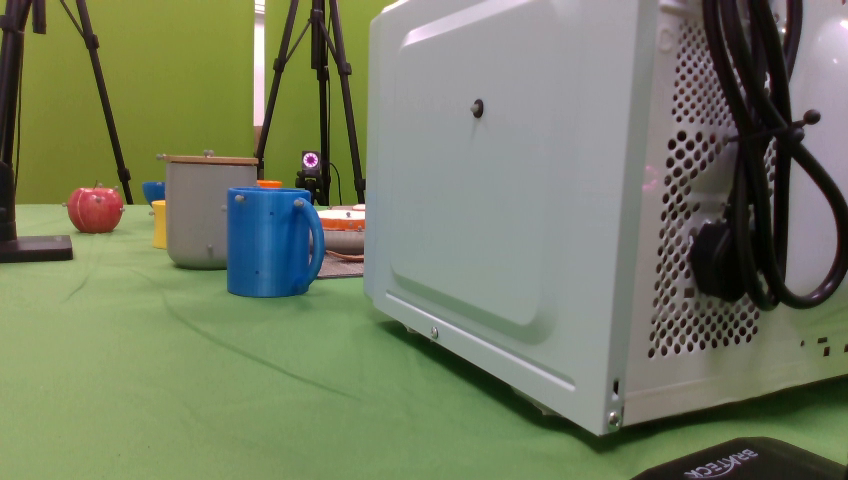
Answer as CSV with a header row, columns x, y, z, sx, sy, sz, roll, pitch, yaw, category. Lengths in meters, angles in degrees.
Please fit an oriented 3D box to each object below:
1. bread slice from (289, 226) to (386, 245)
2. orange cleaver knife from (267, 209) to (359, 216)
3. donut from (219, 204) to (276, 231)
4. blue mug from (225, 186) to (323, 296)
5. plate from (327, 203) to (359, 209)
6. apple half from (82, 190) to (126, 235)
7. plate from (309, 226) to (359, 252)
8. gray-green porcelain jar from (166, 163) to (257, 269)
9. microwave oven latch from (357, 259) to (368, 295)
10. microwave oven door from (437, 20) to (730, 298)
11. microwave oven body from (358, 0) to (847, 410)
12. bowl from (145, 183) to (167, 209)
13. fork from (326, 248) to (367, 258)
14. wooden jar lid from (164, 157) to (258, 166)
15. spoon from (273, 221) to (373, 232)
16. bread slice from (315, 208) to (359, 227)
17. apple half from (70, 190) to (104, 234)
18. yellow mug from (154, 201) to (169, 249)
x,y,z,sx,sy,sz,roll,pitch,yaw,category
-0.125,-0.008,0.938,0.131,0.019,0.105,5,7,31,bread slice
-0.259,-0.064,1.423,0.212,0.012,0.077,-4,3,-30,orange cleaver knife
-0.316,-0.039,1.083,0.099,0.048,0.099,3,7,0,donut
-0.148,0.000,0.618,0.116,0.106,0.083,7,9,33,blue mug
-0.102,-0.053,1.299,0.209,0.038,0.209,2,8,0,plate
-0.517,-0.046,0.994,0.032,0.081,0.081,0,6,26,apple half
-0.130,-0.011,0.945,0.208,0.039,0.207,2,7,0,plate
-0.263,-0.031,0.754,0.106,0.126,0.106,2,7,0,gray-green porcelain jar
-0.019,0.031,0.529,0.079,0.029,0.030,-1,7,-27,microwave oven latch
0.181,-0.076,0.618,0.358,0.243,0.039,-2,8,-28,microwave oven door
0.210,-0.051,0.471,0.444,0.260,0.324,-1,7,-28,microwave oven body
-0.459,-0.068,1.175,0.151,0.077,0.151,2,7,0,bowl
-0.032,0.015,0.835,0.208,0.018,0.028,-3,1,-24,fork
-0.261,-0.093,0.746,0.108,0.020,0.108,0,9,0,wooden jar lid
-0.181,-0.027,1.108,0.195,0.021,0.041,-4,-13,-33,spoon
-0.127,-0.035,0.933,0.134,0.018,0.107,4,11,27,bread slice
-0.552,-0.047,1.010,0.053,0.074,0.081,0,10,26,apple half
-0.338,-0.022,0.899,0.130,0.064,0.100,8,9,34,yellow mug
